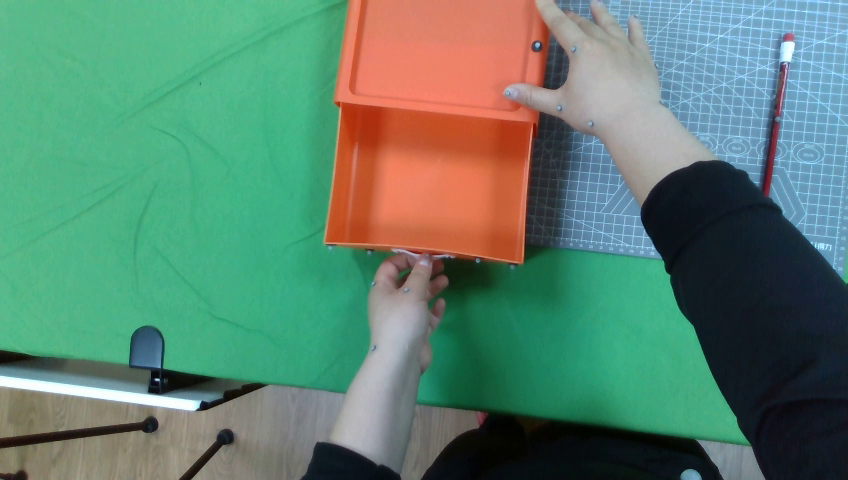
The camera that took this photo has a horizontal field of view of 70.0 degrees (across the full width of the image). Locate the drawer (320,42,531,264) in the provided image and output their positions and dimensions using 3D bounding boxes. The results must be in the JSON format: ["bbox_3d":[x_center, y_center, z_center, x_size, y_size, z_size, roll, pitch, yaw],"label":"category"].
[{"bbox_3d":[0.008,-0.085,0.607,0.194,0.073,0.211,5,87,9],"label":"drawer"}]

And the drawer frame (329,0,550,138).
[{"bbox_3d":[0.022,-0.219,0.610,0.201,0.083,0.213,7,88,10],"label":"drawer frame"}]

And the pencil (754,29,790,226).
[{"bbox_3d":[0.341,-0.110,0.597,0.012,0.012,0.194,8,91,9],"label":"pencil"}]
